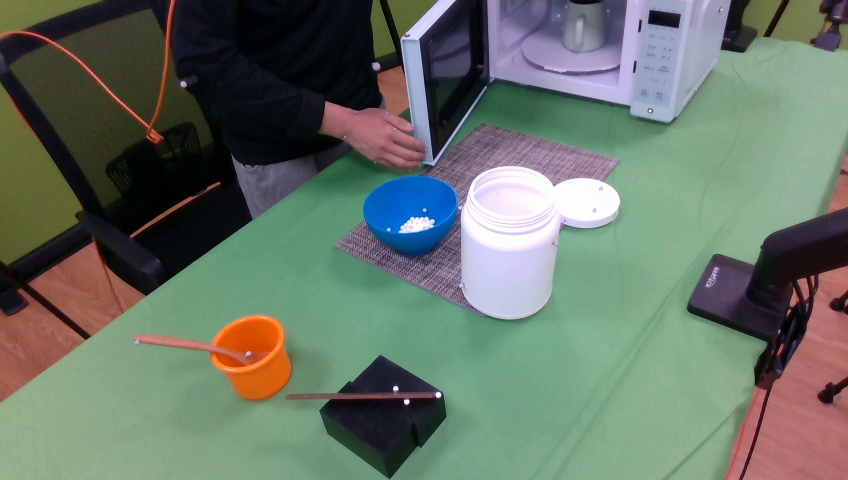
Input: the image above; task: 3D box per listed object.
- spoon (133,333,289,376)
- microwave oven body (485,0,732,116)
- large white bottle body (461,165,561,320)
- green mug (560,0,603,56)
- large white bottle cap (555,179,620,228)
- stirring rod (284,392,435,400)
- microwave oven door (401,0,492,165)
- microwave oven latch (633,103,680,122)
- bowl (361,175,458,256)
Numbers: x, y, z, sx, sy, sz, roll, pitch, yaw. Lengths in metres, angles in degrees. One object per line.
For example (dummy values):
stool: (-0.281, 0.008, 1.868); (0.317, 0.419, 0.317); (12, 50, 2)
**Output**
spoon: (-0.257, 0.137, 0.747); (0.021, 0.195, 0.041); (-47, 40, 23)
microwave oven body: (0.377, -0.462, 1.267); (0.438, 0.261, 0.327); (21, 48, 30)
large white bottle body: (0.115, 0.004, 0.816); (0.130, 0.185, 0.130); (-2, 43, 2)
green mug: (0.333, -0.451, 1.295); (0.092, 0.105, 0.125); (10, 47, 23)
large white bottle cap: (0.265, -0.062, 1.001); (0.115, 0.018, 0.114); (-3, 41, 3)
stirring rod: (-0.075, 0.180, 0.698); (0.176, 0.006, 0.014); (-2, 6, 6)
microwave oven door: (0.055, -0.343, 1.167); (0.039, 0.245, 0.356); (11, 44, 21)
microwave oven latch: (0.443, -0.249, 1.157); (0.078, 0.029, 0.030); (20, 48, 30)
bowl: (-0.019, -0.028, 0.955); (0.151, 0.077, 0.150); (-4, 40, 4)
